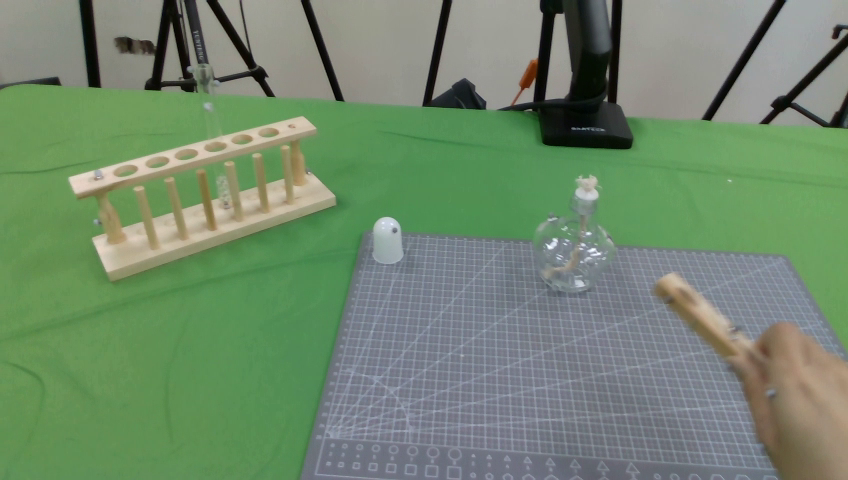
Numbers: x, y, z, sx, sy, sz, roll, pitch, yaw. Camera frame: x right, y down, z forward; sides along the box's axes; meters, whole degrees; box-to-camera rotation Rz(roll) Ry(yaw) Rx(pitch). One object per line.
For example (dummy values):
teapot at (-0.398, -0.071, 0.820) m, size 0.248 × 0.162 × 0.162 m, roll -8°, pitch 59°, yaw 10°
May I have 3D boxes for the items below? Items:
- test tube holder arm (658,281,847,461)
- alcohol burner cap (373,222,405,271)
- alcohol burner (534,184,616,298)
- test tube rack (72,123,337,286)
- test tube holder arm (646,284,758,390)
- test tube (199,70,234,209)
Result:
test tube holder arm at (0.215, 0.087, 0.379) m, size 0.013 × 0.015 × 0.176 m, roll -30°, pitch 54°, yaw -21°
alcohol burner cap at (-0.036, 0.004, 0.611) m, size 0.034 × 0.048 × 0.033 m, roll 2°, pitch 39°, yaw -1°
alcohol burner at (0.145, -0.003, 0.570) m, size 0.078 × 0.120 × 0.077 m, roll 2°, pitch 39°, yaw -1°
test tube rack at (-0.217, -0.044, 0.635) m, size 0.243 × 0.086 × 0.066 m, roll -22°, pitch 43°, yaw -28°
test tube holder arm at (0.184, 0.063, 0.402) m, size 0.010 × 0.015 × 0.087 m, roll -29°, pitch 53°, yaw -20°
test tube at (-0.213, -0.099, 0.625) m, size 0.017 × 0.151 × 0.017 m, roll 2°, pitch 32°, yaw -1°
